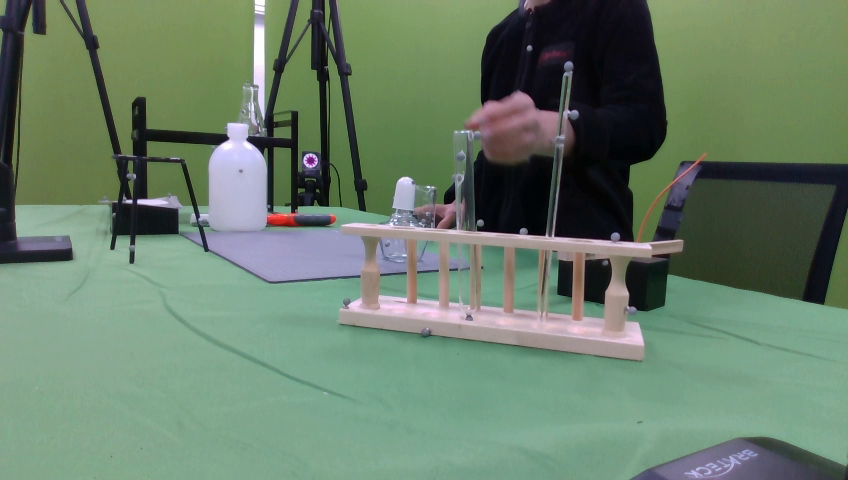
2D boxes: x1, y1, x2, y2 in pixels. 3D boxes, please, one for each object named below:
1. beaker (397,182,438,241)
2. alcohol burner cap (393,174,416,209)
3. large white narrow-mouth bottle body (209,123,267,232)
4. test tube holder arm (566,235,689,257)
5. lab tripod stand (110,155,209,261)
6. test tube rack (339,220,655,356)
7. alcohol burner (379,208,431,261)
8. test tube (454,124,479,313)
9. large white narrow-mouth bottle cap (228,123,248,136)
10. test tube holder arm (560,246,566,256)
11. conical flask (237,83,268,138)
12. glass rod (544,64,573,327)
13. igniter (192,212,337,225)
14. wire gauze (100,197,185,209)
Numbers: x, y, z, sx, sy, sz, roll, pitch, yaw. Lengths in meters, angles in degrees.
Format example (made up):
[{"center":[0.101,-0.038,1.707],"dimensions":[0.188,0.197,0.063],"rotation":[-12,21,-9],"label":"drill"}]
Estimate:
[{"center":[-0.011,-0.051,1.078],"dimensions":[0.074,0.100,0.083],"rotation":[-2,9,-26],"label":"beaker"},{"center":[-0.025,-0.067,0.834],"dimensions":[0.034,0.048,0.034],"rotation":[7,7,-1],"label":"alcohol burner cap"},{"center":[-0.340,-0.115,1.109],"dimensions":[0.102,0.194,0.102],"rotation":[2,8,0],"label":"large white narrow-mouth bottle body"},{"center":[0.216,0.006,0.629],"dimensions":[0.179,0.015,0.013],"rotation":[-3,11,-30],"label":"test tube holder arm"},{"center":[-0.361,-0.046,0.806],"dimensions":[0.148,0.131,0.148],"rotation":[2,5,0],"label":"lab tripod stand"},{"center":[0.056,0.032,0.495],"dimensions":[0.242,0.085,0.067],"rotation":[4,7,15],"label":"test tube rack"},{"center":[-0.027,-0.031,0.838],"dimensions":[0.078,0.119,0.078],"rotation":[0,6,0],"label":"alcohol burner"},{"center":[0.034,-0.015,0.476],"dimensions":[0.017,0.150,0.017],"rotation":[-2,9,1],"label":"test tube"},{"center":[-0.338,-0.200,1.097],"dimensions":[0.038,0.024,0.037],"rotation":[2,8,0],"label":"large white narrow-mouth bottle cap"},{"center":[0.173,0.007,0.611],"dimensions":[0.088,0.015,0.010],"rotation":[-3,10,-29],"label":"test tube holder arm"},{"center":[-0.402,-0.299,1.406],"dimensions":[0.075,0.122,0.075],"rotation":[2,7,0],"label":"conical flask"},{"center":[0.101,-0.028,0.453],"dimensions":[0.008,0.199,0.008],"rotation":[2,14,0],"label":"glass rod"},{"center":[-0.311,-0.043,1.203],"dimensions":[0.278,0.025,0.057],"rotation":[-1,-5,-25],"label":"igniter"},{"center":[-0.469,-0.062,1.008],"dimensions":[0.126,0.011,0.121],"rotation":[-2,8,-25],"label":"wire gauze"}]
